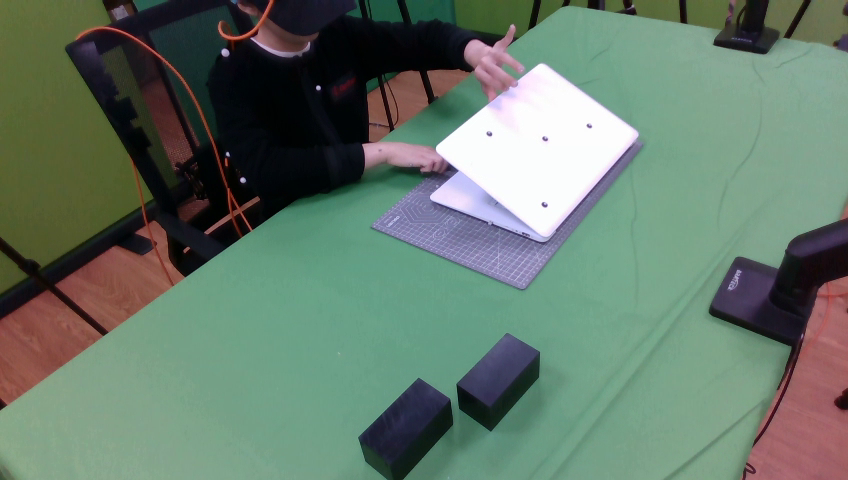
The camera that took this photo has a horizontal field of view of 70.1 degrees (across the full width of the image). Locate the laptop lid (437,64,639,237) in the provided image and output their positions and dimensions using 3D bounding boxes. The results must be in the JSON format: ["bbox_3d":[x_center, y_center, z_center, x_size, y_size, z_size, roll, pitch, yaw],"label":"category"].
[{"bbox_3d":[0.211,-0.173,1.050,0.241,0.013,0.358,41,55,11],"label":"laptop lid"}]

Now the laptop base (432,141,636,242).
[{"bbox_3d":[0.208,-0.129,1.098,0.233,0.023,0.355,20,47,33],"label":"laptop base"}]
